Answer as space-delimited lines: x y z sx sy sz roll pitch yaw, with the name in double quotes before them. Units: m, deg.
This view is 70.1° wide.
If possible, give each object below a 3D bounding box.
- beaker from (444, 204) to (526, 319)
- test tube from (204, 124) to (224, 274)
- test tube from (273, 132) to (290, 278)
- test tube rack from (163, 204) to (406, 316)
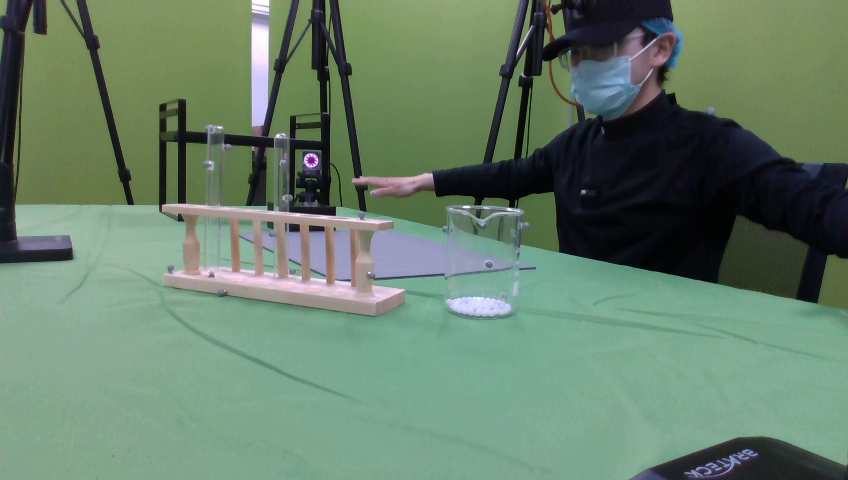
"beaker" 0.055 0.019 0.563 0.074 0.100 0.084 3 8 8
"test tube" -0.210 -0.039 0.603 0.017 0.150 0.017 5 11 -1
"test tube" -0.146 -0.034 0.617 0.017 0.150 0.017 2 8 0
"test tube rack" -0.141 0.013 0.601 0.241 0.085 0.067 5 8 21
